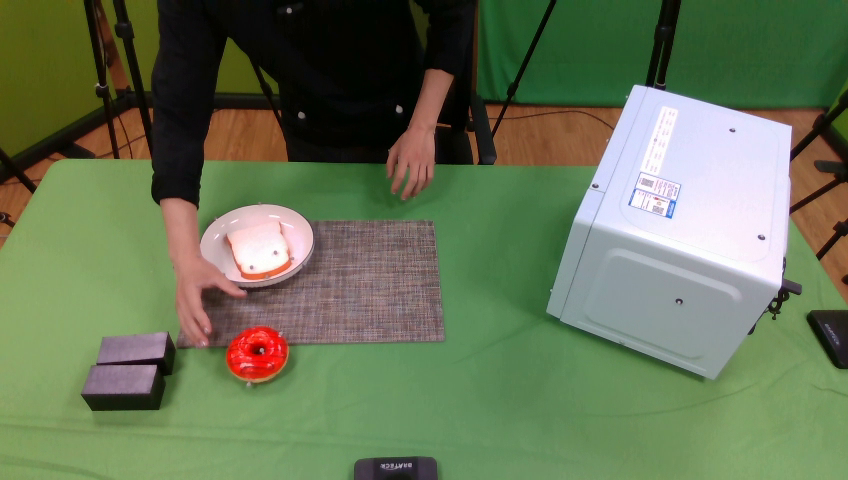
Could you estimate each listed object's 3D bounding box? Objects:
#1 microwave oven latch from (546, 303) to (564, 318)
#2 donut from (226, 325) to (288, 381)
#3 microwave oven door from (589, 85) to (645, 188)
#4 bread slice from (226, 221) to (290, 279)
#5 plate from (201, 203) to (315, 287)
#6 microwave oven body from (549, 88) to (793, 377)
[{"bbox_3d":[0.242,0.102,1.081,0.030,0.029,0.079,22,48,17],"label":"microwave oven latch"},{"bbox_3d":[-0.270,0.182,0.984,0.099,0.048,0.098,5,49,-5],"label":"donut"},{"bbox_3d":[0.342,-0.107,1.148,0.039,0.245,0.354,20,48,15],"label":"microwave oven door"},{"bbox_3d":[-0.308,0.019,1.141,0.105,0.019,0.130,-17,49,-18],"label":"bread slice"},{"bbox_3d":[-0.310,0.013,1.145,0.208,0.039,0.206,2,46,-2],"label":"plate"},{"bbox_3d":[0.456,-0.028,1.087,0.325,0.261,0.440,20,47,16],"label":"microwave oven body"}]
